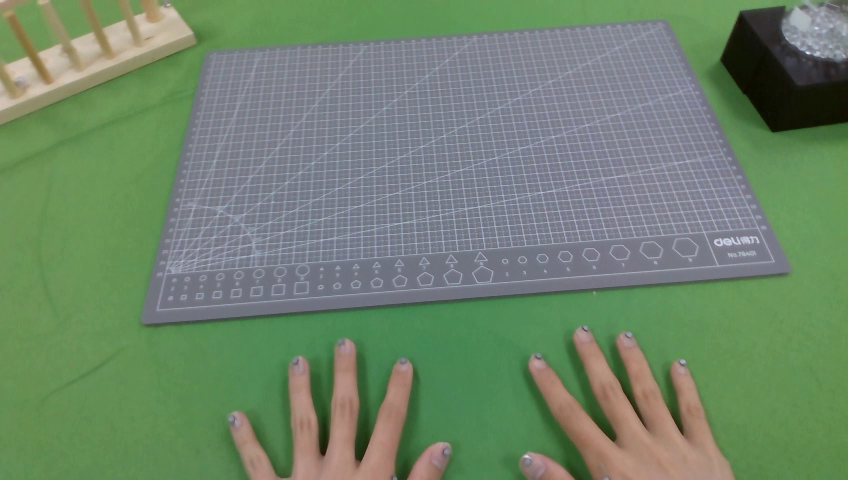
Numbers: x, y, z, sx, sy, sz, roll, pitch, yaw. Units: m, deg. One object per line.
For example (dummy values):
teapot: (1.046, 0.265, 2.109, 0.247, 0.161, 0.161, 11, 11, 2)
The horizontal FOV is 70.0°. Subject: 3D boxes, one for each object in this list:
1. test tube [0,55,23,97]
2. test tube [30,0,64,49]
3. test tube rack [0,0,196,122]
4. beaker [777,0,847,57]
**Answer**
test tube: (-0.369, -0.177, 0.484, 0.017, 0.152, 0.017, -1, 54, 2)
test tube: (-0.341, -0.234, 0.516, 0.017, 0.151, 0.017, 0, 46, 0)
test tube rack: (-0.343, -0.183, 0.542, 0.242, 0.086, 0.066, -31, 58, -18)
beaker: (0.319, -0.199, 0.455, 0.074, 0.101, 0.083, -27, 57, -16)
